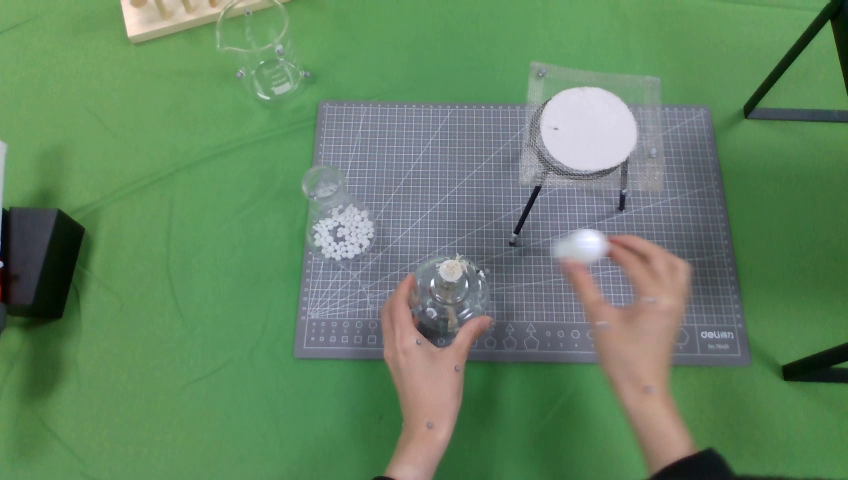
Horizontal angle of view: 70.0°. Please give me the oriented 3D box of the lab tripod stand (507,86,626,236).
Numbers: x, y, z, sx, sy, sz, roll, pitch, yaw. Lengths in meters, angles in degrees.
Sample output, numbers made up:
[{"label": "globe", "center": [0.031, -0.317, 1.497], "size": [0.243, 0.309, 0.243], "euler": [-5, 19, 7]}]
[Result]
[{"label": "lab tripod stand", "center": [0.139, -0.077, 0.597], "size": [0.148, 0.132, 0.147], "euler": [1, 68, -1]}]

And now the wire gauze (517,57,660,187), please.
[{"label": "wire gauze", "center": [0.146, -0.105, 0.535], "size": [0.121, 0.011, 0.124], "euler": [6, 70, 1]}]

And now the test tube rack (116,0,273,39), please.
[{"label": "test tube rack", "center": [-0.254, -0.323, 0.717], "size": [0.242, 0.086, 0.066], "euler": [-18, 71, -7]}]

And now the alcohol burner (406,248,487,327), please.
[{"label": "alcohol burner", "center": [0.022, 0.039, 0.565], "size": [0.078, 0.120, 0.077], "euler": [0, 68, -1]}]

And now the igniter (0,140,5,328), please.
[{"label": "igniter", "center": [-0.421, 0.025, 0.570], "size": [0.057, 0.025, 0.274], "euler": [-15, 69, 6]}]

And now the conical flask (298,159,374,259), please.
[{"label": "conical flask", "center": [-0.091, -0.034, 0.588], "size": [0.075, 0.122, 0.075], "euler": [0, 69, 1]}]

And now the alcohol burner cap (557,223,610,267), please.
[{"label": "alcohol burner cap", "center": [0.135, 0.002, 0.503], "size": [0.034, 0.048, 0.033], "euler": [3, 74, -12]}]

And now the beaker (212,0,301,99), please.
[{"label": "beaker", "center": [-0.182, -0.209, 0.668], "size": [0.084, 0.101, 0.073], "euler": [-40, 74, -13]}]
